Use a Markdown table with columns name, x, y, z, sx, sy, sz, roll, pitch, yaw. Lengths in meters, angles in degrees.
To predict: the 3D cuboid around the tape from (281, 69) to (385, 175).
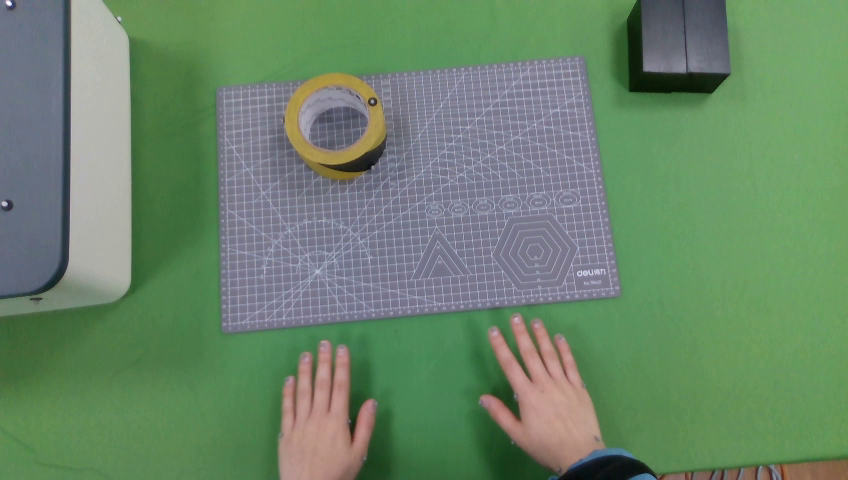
| name | x | y | z | sx | sy | sz | roll | pitch | yaw |
| --- | --- | --- | --- | --- | --- | --- | --- | --- | --- |
| tape | -0.103 | -0.134 | 0.698 | 0.117 | 0.053 | 0.116 | 0 | 79 | 1 |

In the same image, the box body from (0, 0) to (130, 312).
| name | x | y | z | sx | sy | sz | roll | pitch | yaw |
| --- | --- | --- | --- | --- | --- | --- | --- | --- | --- |
| box body | -0.467 | -0.105 | 0.640 | 0.254 | 0.161 | 0.362 | -7 | 78 | -1 |

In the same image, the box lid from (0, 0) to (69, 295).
| name | x | y | z | sx | sy | sz | roll | pitch | yaw |
| --- | --- | --- | --- | --- | --- | --- | --- | --- | --- |
| box lid | -0.467 | -0.123 | 0.569 | 0.263 | 0.015 | 0.369 | -7 | 79 | -1 |
